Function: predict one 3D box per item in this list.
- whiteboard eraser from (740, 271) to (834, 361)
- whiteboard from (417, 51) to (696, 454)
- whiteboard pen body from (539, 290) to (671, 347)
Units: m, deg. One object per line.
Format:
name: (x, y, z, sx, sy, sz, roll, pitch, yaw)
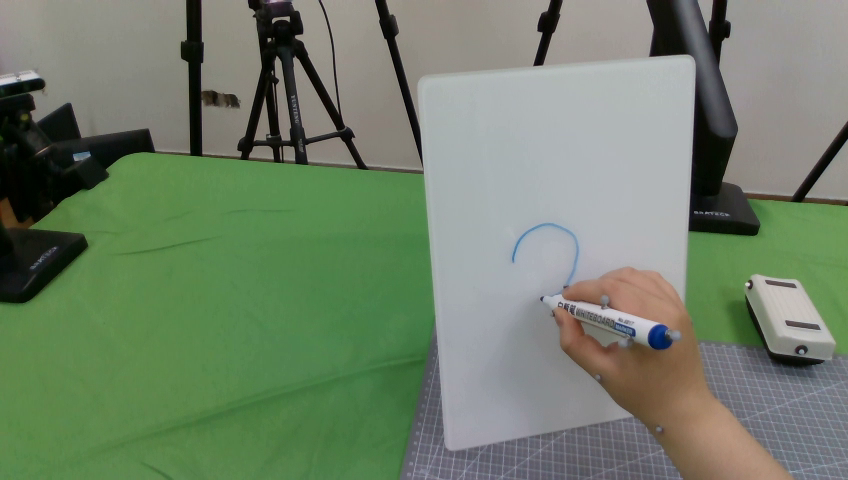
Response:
whiteboard eraser: (0.364, 0.076, 0.614, 0.055, 0.042, 0.112, 5, 31, 10)
whiteboard: (0.098, 0.000, 0.540, 0.218, 0.307, 0.143, -7, 16, -10)
whiteboard pen body: (0.115, 0.050, 0.416, 0.017, 0.017, 0.140, -13, 9, -18)
